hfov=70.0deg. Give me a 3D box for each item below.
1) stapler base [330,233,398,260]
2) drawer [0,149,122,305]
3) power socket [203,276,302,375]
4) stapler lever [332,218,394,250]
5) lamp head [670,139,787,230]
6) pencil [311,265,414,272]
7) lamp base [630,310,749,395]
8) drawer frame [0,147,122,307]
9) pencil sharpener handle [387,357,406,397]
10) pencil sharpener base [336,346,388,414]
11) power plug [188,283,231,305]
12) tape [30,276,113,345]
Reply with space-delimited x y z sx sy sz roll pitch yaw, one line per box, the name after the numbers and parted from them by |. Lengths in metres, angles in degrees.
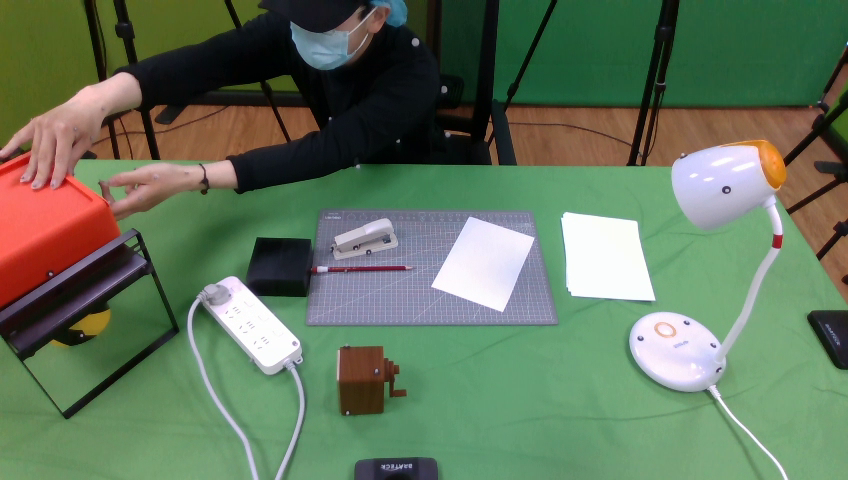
-0.116 0.004 1.181 0.131 0.024 0.041 -13 47 -14 | stapler base
-0.596 -0.022 0.887 0.193 0.073 0.211 32 53 23 | drawer
-0.297 0.141 1.034 0.072 0.033 0.225 -34 58 -30 | power socket
-0.116 -0.012 1.162 0.118 0.040 0.026 -13 47 -14 | stapler lever
0.415 -0.079 0.812 0.113 0.123 0.112 13 70 -37 | lamp head
-0.115 0.055 1.142 0.194 0.012 0.012 1 46 -5 | pencil
0.447 0.142 0.984 0.161 0.181 0.178 -24 55 -24 | lamp base
-0.599 -0.020 0.883 0.201 0.083 0.213 31 52 23 | drawer frame
-0.041 0.209 0.919 0.031 0.068 0.036 -1 25 -6 | pencil sharpener handle
-0.094 0.215 0.927 0.077 0.107 0.061 -1 46 -6 | pencil sharpener base
-0.368 0.099 1.037 0.072 0.053 0.035 -23 52 -25 | power plug
-0.594 0.117 1.022 0.117 0.053 0.116 2 45 -2 | tape
